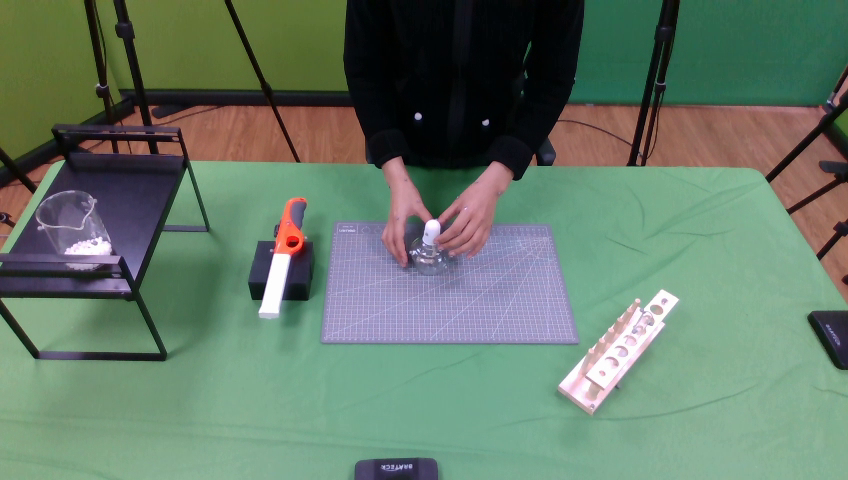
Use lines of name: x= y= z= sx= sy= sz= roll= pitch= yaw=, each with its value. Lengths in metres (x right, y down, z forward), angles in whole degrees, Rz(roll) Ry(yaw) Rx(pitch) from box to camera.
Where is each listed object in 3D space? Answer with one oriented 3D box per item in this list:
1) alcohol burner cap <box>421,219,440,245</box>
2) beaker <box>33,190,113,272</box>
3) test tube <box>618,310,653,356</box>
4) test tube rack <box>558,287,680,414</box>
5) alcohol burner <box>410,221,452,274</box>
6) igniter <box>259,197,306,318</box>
alcohol burner cap: x=0.013 y=-0.018 z=1.094 sx=0.034 sy=0.048 sz=0.033 roll=5 pitch=44 yaw=-5
beaker: x=-0.493 y=-0.009 z=0.864 sx=0.083 sy=0.101 sz=0.074 roll=37 pitch=55 yaw=27
test tube: x=0.329 y=0.156 z=0.955 sx=0.017 sy=0.151 sz=0.017 roll=2 pitch=51 yaw=-2
test tube rack: x=0.326 y=0.170 z=1.009 sx=0.066 sy=0.085 sz=0.242 roll=36 pitch=54 yaw=26
alcohol burner: x=0.013 y=0.008 z=1.119 sx=0.078 sy=0.120 sz=0.077 roll=1 pitch=49 yaw=-1
igniter: x=-0.252 y=0.021 z=1.088 sx=0.057 sy=0.025 sz=0.275 roll=4 pitch=48 yaw=-3
